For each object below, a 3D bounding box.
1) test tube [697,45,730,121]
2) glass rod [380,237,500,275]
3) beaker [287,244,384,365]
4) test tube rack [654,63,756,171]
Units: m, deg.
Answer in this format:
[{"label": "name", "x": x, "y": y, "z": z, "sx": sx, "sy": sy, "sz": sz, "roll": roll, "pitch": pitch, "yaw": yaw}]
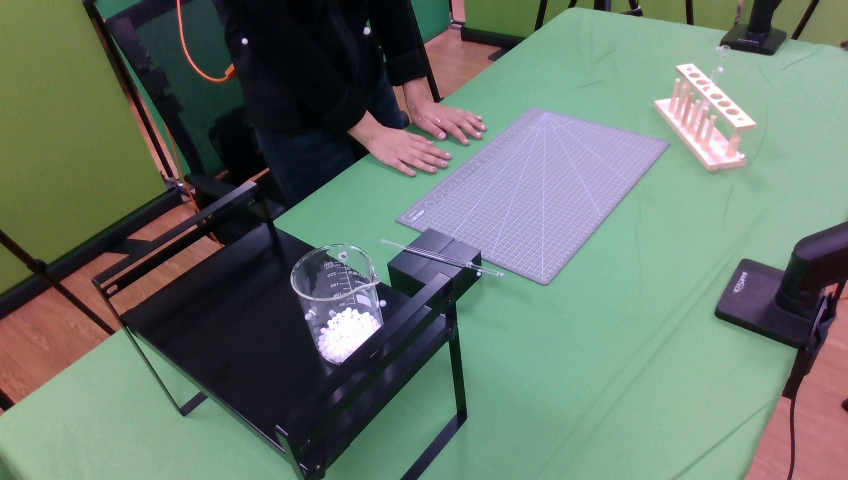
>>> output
[{"label": "test tube", "x": 0.523, "y": -0.280, "z": 1.096, "sx": 0.017, "sy": 0.151, "sz": 0.017, "roll": 0, "pitch": 44, "yaw": 1}, {"label": "glass rod", "x": 0.020, "y": 0.023, "z": 0.881, "sx": 0.198, "sy": 0.008, "sz": 0.008, "roll": 16, "pitch": 46, "yaw": 25}, {"label": "beaker", "x": -0.076, "y": 0.064, "z": 0.575, "sx": 0.083, "sy": 0.101, "sz": 0.074, "roll": 6, "pitch": 43, "yaw": 15}, {"label": "test tube rack", "x": 0.510, "y": -0.233, "z": 1.120, "sx": 0.067, "sy": 0.085, "sz": 0.241, "roll": -8, "pitch": 41, "yaw": -1}]
